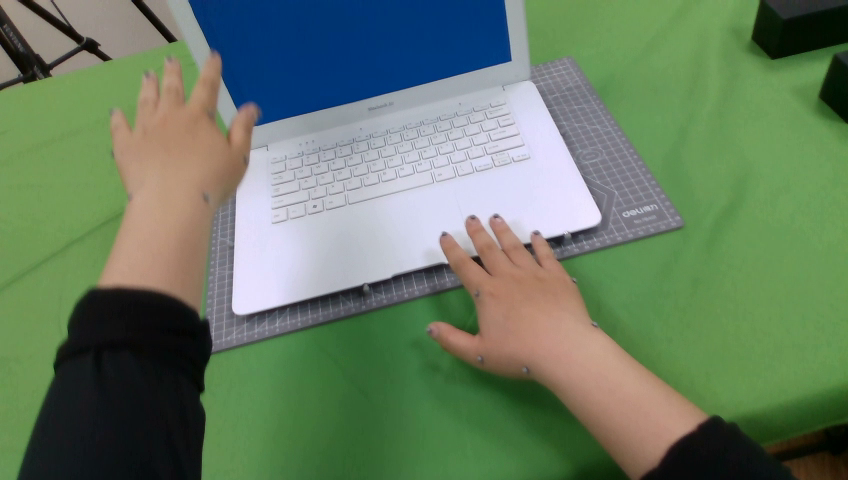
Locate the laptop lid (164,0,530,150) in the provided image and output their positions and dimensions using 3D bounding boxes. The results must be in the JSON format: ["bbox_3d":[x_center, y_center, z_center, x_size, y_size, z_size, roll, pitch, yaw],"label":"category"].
[{"bbox_3d":[-0.070,-0.231,0.628,0.357,0.244,0.013,-16,41,2],"label":"laptop lid"}]

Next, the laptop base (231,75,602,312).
[{"bbox_3d":[-0.025,-0.058,0.629,0.354,0.023,0.233,-14,51,1],"label":"laptop base"}]
